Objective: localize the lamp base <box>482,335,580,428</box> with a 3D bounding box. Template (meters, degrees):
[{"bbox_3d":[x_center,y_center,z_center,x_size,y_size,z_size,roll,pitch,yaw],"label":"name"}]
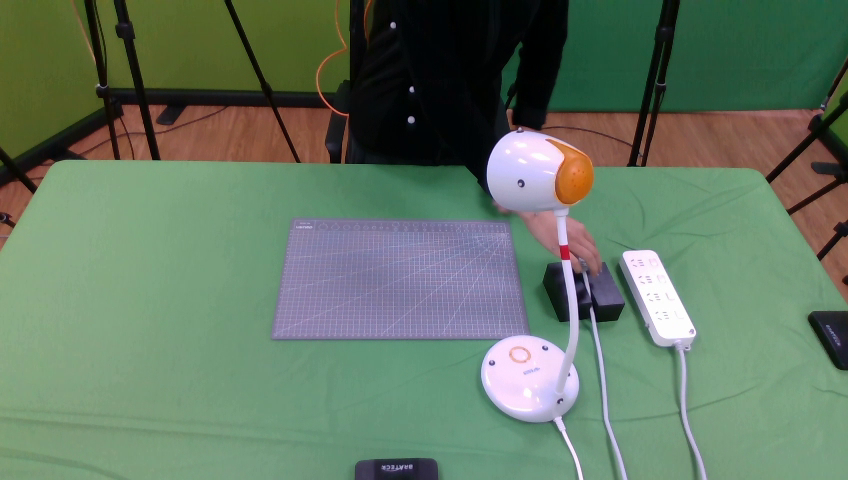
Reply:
[{"bbox_3d":[0.185,0.177,0.928,0.161,0.181,0.178,-22,53,-23],"label":"lamp base"}]

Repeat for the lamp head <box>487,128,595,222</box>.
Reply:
[{"bbox_3d":[0.160,-0.084,0.791,0.112,0.113,0.122,-24,28,-25],"label":"lamp head"}]

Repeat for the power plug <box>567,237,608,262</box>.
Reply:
[{"bbox_3d":[0.304,0.019,1.130,0.073,0.052,0.035,-13,91,-21],"label":"power plug"}]

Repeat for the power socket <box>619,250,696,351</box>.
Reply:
[{"bbox_3d":[0.428,0.103,1.121,0.072,0.033,0.225,-3,46,-6],"label":"power socket"}]
